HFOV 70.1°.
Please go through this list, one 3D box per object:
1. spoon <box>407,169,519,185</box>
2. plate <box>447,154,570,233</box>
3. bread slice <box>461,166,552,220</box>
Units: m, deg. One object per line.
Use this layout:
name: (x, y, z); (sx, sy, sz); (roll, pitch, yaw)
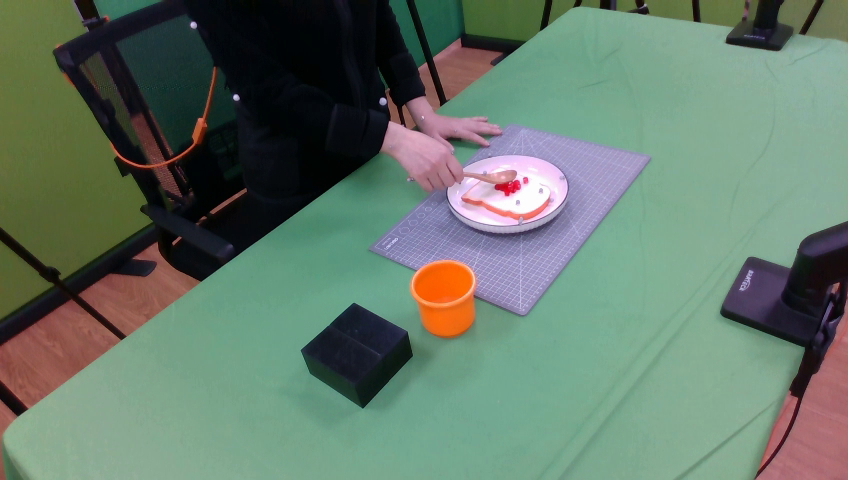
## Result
spoon: (0.066, -0.109, 1.016); (0.195, 0.021, 0.041); (1, 39, -14)
plate: (0.143, -0.076, 1.032); (0.209, 0.038, 0.208); (-5, 40, 5)
bread slice: (0.149, -0.079, 1.036); (0.133, 0.018, 0.107); (22, 50, 31)
